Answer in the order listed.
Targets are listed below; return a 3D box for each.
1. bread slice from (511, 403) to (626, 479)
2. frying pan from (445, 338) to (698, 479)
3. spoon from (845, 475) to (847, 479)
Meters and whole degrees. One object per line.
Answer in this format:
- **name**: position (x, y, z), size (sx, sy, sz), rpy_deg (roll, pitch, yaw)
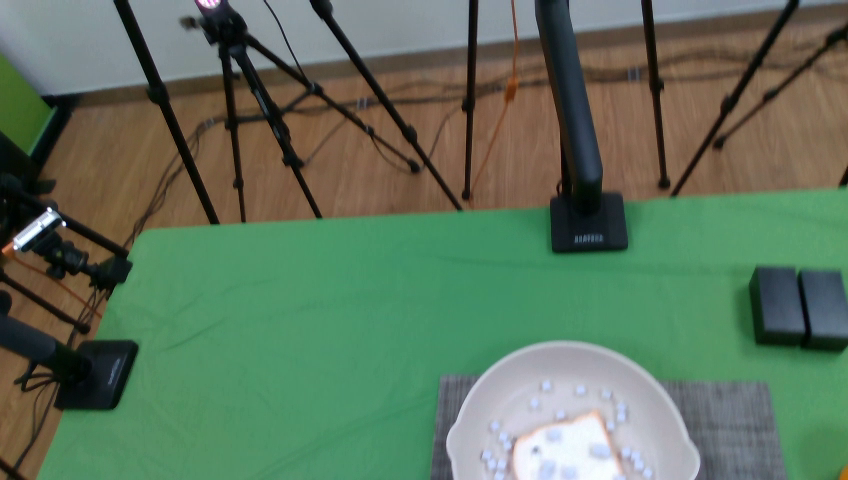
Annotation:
- **bread slice**: position (0.184, 0.287, 0.798), size (0.134, 0.018, 0.106), rpy_deg (-18, 54, -2)
- **frying pan**: position (0.164, 0.348, 0.712), size (0.306, 0.104, 0.484), rpy_deg (0, 47, 15)
- **spoon**: position (0.561, 0.253, 0.658), size (0.022, 0.194, 0.041), rpy_deg (16, 52, -29)
